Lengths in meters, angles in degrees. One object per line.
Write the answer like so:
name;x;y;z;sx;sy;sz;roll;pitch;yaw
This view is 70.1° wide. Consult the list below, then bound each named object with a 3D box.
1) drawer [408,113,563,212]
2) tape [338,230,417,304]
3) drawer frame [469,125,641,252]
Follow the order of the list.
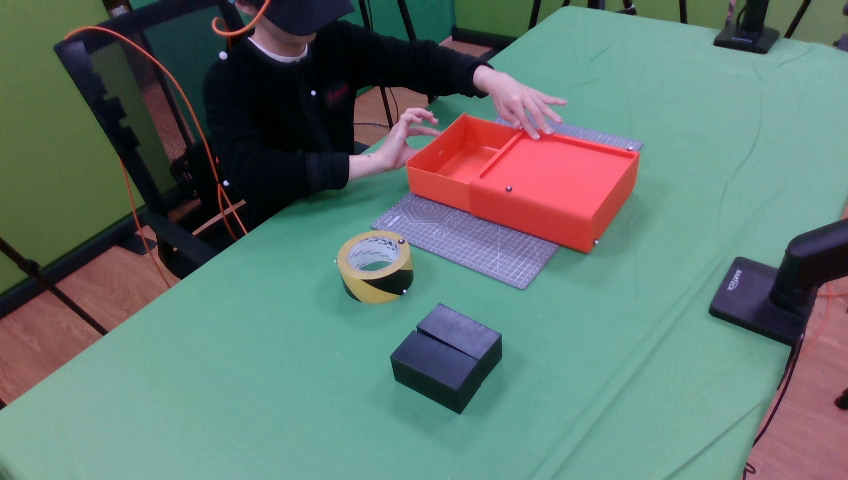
drawer;0.112;-0.131;1.064;0.210;0.073;0.195;21;47;30
tape;-0.069;0.041;0.917;0.117;0.053;0.116;-4;41;4
drawer frame;0.216;-0.093;1.003;0.212;0.083;0.202;20;47;28
